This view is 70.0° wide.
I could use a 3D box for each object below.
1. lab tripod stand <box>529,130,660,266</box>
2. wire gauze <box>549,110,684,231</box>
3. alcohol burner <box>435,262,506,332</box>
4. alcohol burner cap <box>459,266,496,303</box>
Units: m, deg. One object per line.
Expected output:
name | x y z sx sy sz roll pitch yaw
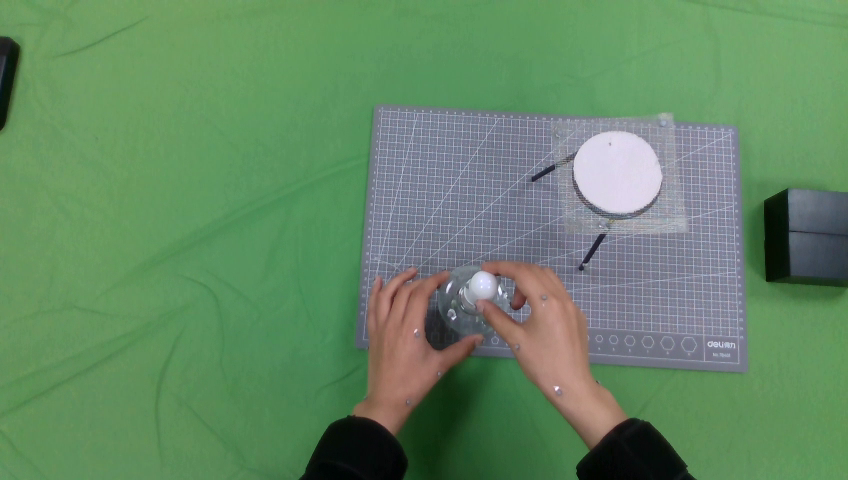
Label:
lab tripod stand | 0.191 -0.056 0.661 0.148 0.132 0.147 0 77 -1
wire gauze | 0.190 -0.068 0.595 0.125 0.011 0.121 -2 79 -3
alcohol burner | 0.051 0.058 0.647 0.078 0.119 0.077 1 76 -3
alcohol burner cap | 0.054 0.042 0.592 0.034 0.048 0.033 2 72 -6
